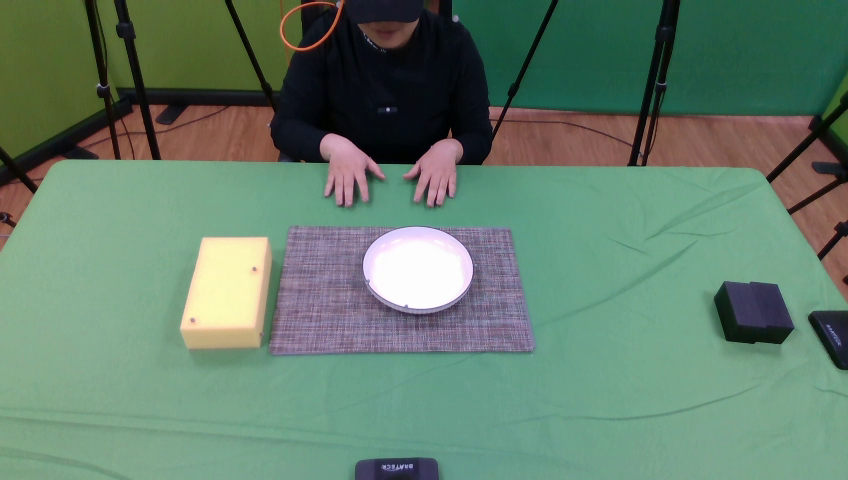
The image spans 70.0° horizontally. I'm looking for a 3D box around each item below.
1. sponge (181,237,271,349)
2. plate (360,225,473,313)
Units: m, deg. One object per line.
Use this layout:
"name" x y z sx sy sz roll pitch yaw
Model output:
"sponge" -0.341 0.088 1.062 0.118 0.061 0.205 -2 47 -6
"plate" -0.014 0.057 1.126 0.208 0.039 0.206 2 46 -2
